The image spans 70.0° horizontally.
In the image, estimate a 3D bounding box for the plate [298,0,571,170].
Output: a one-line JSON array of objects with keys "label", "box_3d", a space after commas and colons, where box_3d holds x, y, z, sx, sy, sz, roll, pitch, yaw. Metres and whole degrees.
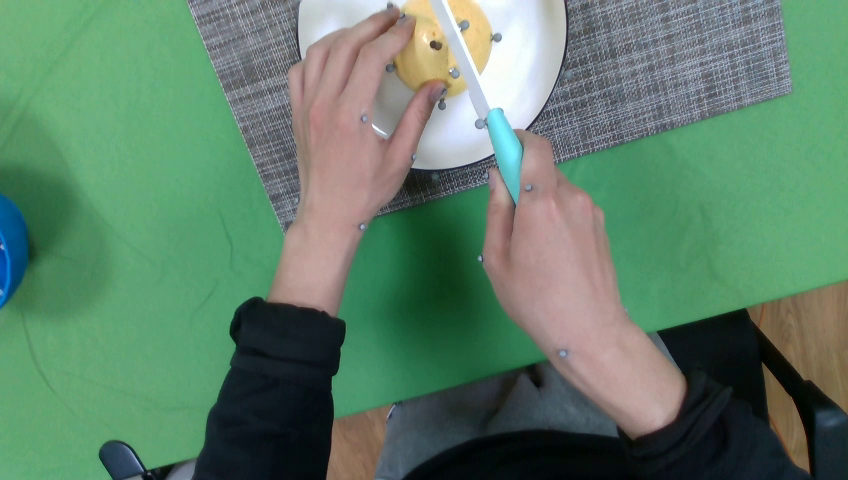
[{"label": "plate", "box_3d": [0.008, -0.161, 0.476, 0.207, 0.039, 0.208, 1, 109, 3]}]

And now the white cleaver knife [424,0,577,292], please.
[{"label": "white cleaver knife", "box_3d": [0.035, -0.093, 0.383, 0.021, 0.065, 0.288, -25, 105, 3]}]

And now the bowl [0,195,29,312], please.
[{"label": "bowl", "box_3d": [-0.413, 0.000, 0.535, 0.151, 0.076, 0.152, 1, 109, 3]}]

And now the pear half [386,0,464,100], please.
[{"label": "pear half", "box_3d": [-0.001, -0.136, 0.438, 0.056, 0.109, 0.076, -25, 100, 12]}]

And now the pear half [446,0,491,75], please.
[{"label": "pear half", "box_3d": [0.032, -0.152, 0.441, 0.031, 0.087, 0.071, -25, 102, 12]}]
